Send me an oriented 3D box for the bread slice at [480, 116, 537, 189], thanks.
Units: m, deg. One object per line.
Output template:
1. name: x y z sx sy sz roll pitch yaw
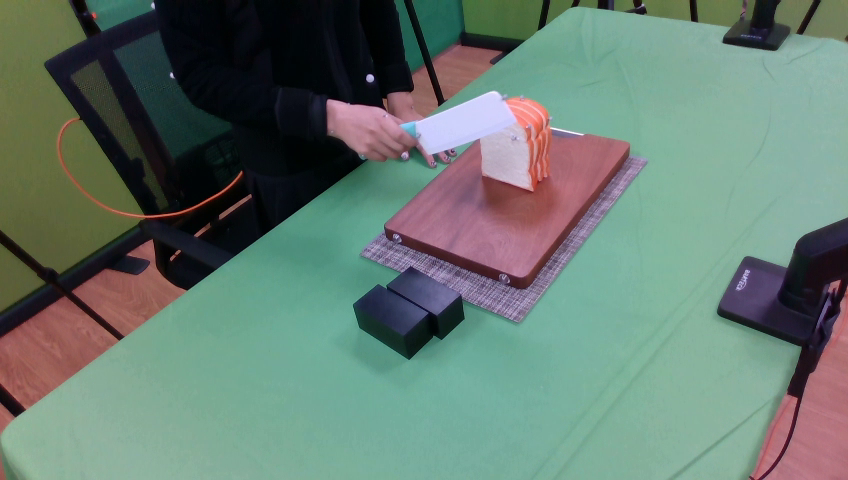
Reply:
1. bread slice: 0.138 -0.154 1.008 0.106 0.135 0.018 19 49 35

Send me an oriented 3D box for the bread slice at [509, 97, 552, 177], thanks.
1. bread slice: 0.173 -0.179 1.034 0.104 0.132 0.019 24 45 31

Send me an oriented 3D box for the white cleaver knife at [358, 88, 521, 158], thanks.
1. white cleaver knife: 0.010 -0.155 0.889 0.284 0.066 0.021 -10 33 39
